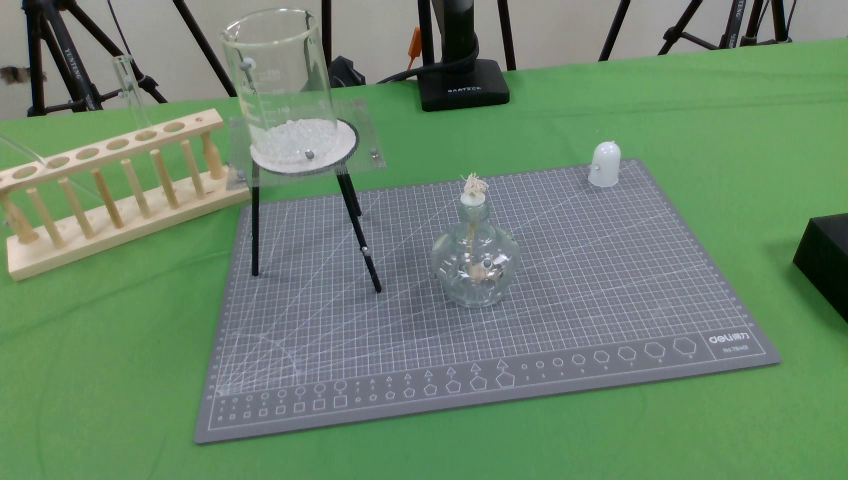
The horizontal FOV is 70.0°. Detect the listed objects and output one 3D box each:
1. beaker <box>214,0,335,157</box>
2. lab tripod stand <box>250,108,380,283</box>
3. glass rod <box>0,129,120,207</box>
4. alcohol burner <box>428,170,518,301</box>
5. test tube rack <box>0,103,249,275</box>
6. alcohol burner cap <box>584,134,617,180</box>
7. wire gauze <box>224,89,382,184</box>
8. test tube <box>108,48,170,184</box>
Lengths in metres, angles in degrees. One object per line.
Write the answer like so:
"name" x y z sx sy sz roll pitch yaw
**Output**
"beaker" -0.113 -0.123 0.470 0.083 0.101 0.073 13 44 22
"lab tripod stand" -0.099 -0.038 0.547 0.148 0.133 0.147 -3 43 3
"glass rod" -0.380 -0.085 0.583 0.008 0.202 0.008 -18 51 24
"alcohol burner" 0.041 -0.007 0.512 0.078 0.120 0.077 -3 39 3
"test tube rack" -0.319 -0.058 0.632 0.243 0.086 0.066 -23 44 -20
"alcohol burner cap" 0.191 -0.092 0.651 0.034 0.048 0.033 -2 41 2
"wire gauze" -0.104 -0.087 0.503 0.125 0.011 0.120 -13 39 -5
"test tube" -0.293 -0.123 0.629 0.017 0.151 0.017 -2 38 2
